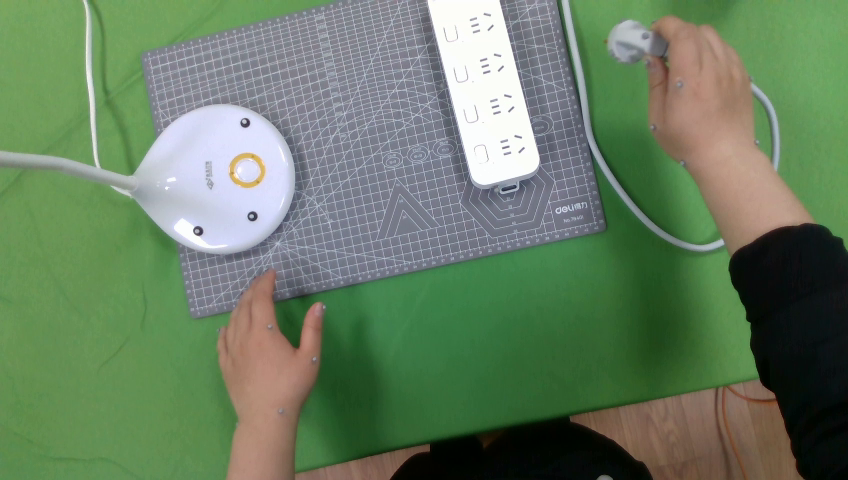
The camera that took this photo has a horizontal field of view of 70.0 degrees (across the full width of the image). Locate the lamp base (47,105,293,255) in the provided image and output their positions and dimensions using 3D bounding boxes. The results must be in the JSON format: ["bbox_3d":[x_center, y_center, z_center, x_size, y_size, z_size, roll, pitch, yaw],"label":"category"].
[{"bbox_3d":[-0.238,-0.063,0.569,0.179,0.180,0.160,-18,86,8],"label":"lamp base"}]

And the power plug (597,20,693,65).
[{"bbox_3d":[0.184,-0.159,0.521,0.073,0.052,0.035,30,94,-21],"label":"power plug"}]

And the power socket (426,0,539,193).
[{"bbox_3d":[0.059,-0.160,0.614,0.072,0.032,0.226,-14,87,5],"label":"power socket"}]
